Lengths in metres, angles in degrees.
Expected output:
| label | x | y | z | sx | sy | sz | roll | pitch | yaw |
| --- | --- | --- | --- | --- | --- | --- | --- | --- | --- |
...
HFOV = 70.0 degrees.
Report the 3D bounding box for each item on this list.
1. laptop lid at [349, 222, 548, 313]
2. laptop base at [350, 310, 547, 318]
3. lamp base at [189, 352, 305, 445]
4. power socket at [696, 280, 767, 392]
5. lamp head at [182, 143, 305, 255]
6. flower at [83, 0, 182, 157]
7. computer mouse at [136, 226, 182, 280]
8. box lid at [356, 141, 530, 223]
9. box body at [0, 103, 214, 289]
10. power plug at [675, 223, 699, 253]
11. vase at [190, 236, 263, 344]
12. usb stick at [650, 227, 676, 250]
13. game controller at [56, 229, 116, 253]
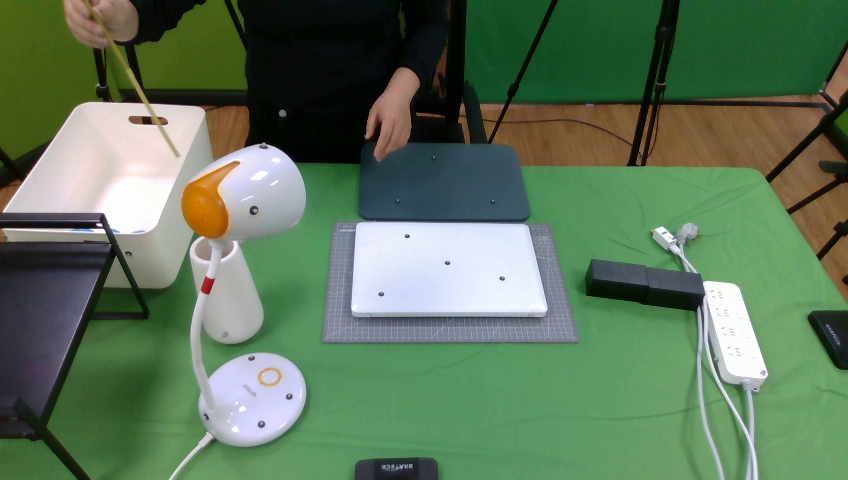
| label | x | y | z | sx | sy | sz | roll | pitch | yaw |
| --- | --- | --- | --- | --- | --- | --- | --- | --- | --- |
| laptop lid | 0.042 | 0.046 | 1.142 | 0.357 | 0.013 | 0.240 | 2 | 44 | -3 |
| laptop base | 0.041 | 0.056 | 1.148 | 0.355 | 0.023 | 0.234 | 0 | 42 | -4 |
| lamp base | -0.268 | 0.196 | 0.876 | 0.160 | 0.181 | 0.179 | 25 | 52 | 19 |
| power socket | 0.543 | 0.160 | 1.077 | 0.072 | 0.033 | 0.225 | 5 | 46 | 2 |
| lamp head | -0.216 | -0.044 | 0.697 | 0.112 | 0.113 | 0.123 | 23 | 31 | 17 |
| flower | -0.429 | -0.269 | 0.830 | 0.038 | 0.364 | 0.044 | -18 | 34 | 7 |
| computer mouse | -0.488 | 0.020 | 1.117 | 0.063 | 0.041 | 0.116 | 1 | 55 | -6 |
| box lid | 0.040 | -0.132 | 1.339 | 0.372 | 0.015 | 0.261 | 0 | 46 | -4 |
| box body | -0.563 | -0.087 | 1.140 | 0.254 | 0.161 | 0.361 | 2 | 46 | -3 |
| power plug | 0.537 | 0.000 | 1.244 | 0.053 | 0.035 | 0.072 | 19 | 83 | -17 |
| vase | -0.317 | 0.081 | 0.972 | 0.098 | 0.201 | 0.097 | 3 | 47 | -3 |
| usb stick | 0.485 | -0.007 | 1.238 | 0.021 | 0.027 | 0.059 | -23 | 44 | -13 |
| game controller | -0.597 | 0.011 | 1.116 | 0.155 | 0.052 | 0.096 | 1 | 48 | -1 |
